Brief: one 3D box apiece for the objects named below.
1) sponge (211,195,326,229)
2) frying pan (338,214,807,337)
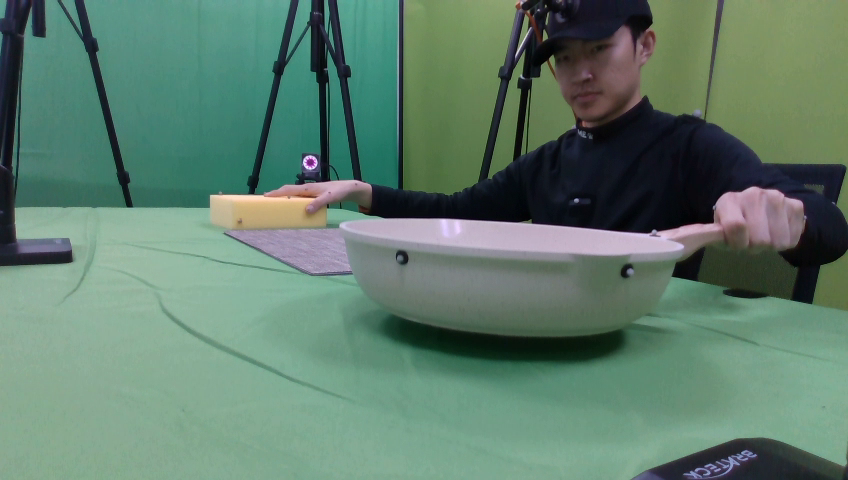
[{"bbox_3d":[-0.321,-0.060,1.254,0.208,0.061,0.117,-3,8,-39],"label":"sponge"},{"bbox_3d":[0.169,0.009,0.563,0.490,0.102,0.305,-8,9,-17],"label":"frying pan"}]
